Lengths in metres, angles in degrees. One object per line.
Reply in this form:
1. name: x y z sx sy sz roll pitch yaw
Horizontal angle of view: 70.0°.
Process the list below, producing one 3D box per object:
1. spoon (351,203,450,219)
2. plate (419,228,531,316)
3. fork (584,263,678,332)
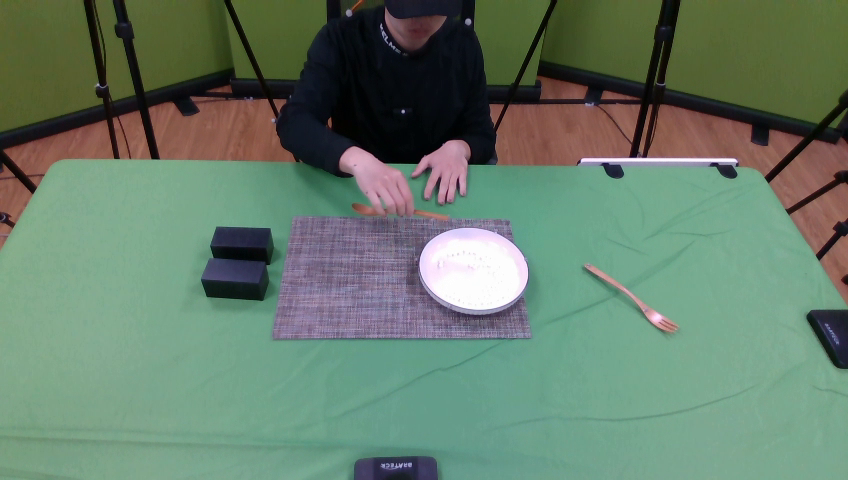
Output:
1. spoon: -0.046 -0.054 1.133 0.193 0.022 0.041 3 16 17
2. plate: 0.093 0.062 1.131 0.208 0.039 0.206 2 46 -2
3. fork: 0.380 0.103 1.130 0.028 0.019 0.206 -34 58 -23
